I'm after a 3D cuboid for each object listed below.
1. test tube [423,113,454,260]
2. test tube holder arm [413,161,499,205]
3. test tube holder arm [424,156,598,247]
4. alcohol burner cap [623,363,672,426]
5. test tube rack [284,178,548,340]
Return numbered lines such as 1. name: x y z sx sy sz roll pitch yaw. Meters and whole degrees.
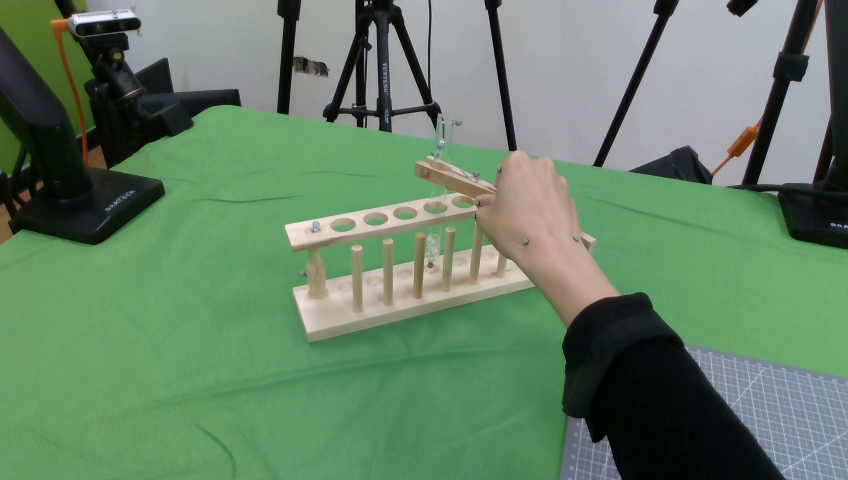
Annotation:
1. test tube: 0.011 -0.044 0.555 0.017 0.151 0.017 4 34 -3
2. test tube holder arm: 0.028 -0.050 0.529 0.087 0.015 0.010 22 42 27
3. test tube holder arm: 0.067 -0.036 0.510 0.177 0.015 0.013 28 46 32
4. alcohol burner cap: 0.175 0.116 0.468 0.034 0.048 0.033 1 37 -1
5. test tube rack: 0.000 0.013 0.568 0.243 0.086 0.066 -12 38 -18
